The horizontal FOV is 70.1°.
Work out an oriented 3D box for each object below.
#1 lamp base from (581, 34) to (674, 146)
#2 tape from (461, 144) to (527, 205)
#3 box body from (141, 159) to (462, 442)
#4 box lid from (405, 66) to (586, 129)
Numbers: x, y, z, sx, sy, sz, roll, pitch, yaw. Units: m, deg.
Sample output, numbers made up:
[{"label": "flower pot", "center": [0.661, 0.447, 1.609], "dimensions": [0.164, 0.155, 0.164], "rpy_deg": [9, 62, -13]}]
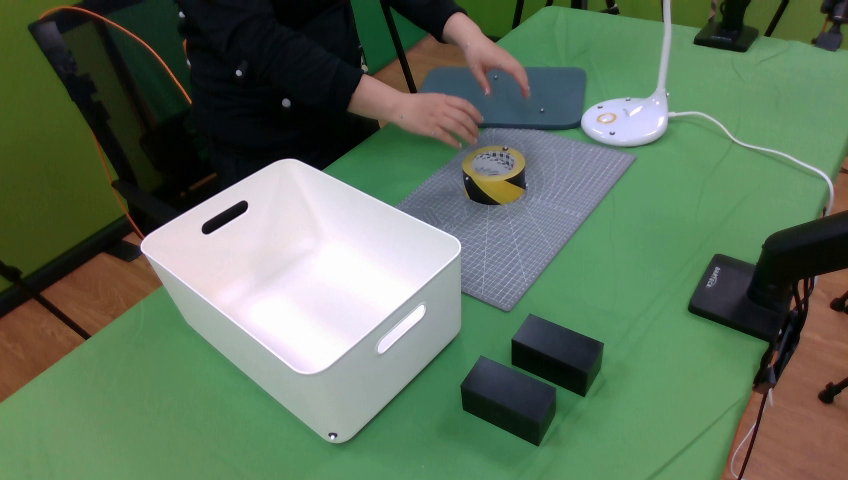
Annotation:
[{"label": "lamp base", "center": [0.392, -0.291, 1.129], "dimensions": [0.180, 0.181, 0.159], "rpy_deg": [-11, 41, -8]}, {"label": "tape", "center": [0.124, -0.116, 1.058], "dimensions": [0.117, 0.053, 0.116], "rpy_deg": [-4, 42, 4]}, {"label": "box body", "center": [-0.153, 0.063, 0.809], "dimensions": [0.361, 0.161, 0.255], "rpy_deg": [27, 51, 33]}, {"label": "box lid", "center": [0.163, -0.317, 1.322], "dimensions": [0.370, 0.015, 0.263], "rpy_deg": [5, 42, 14]}]
